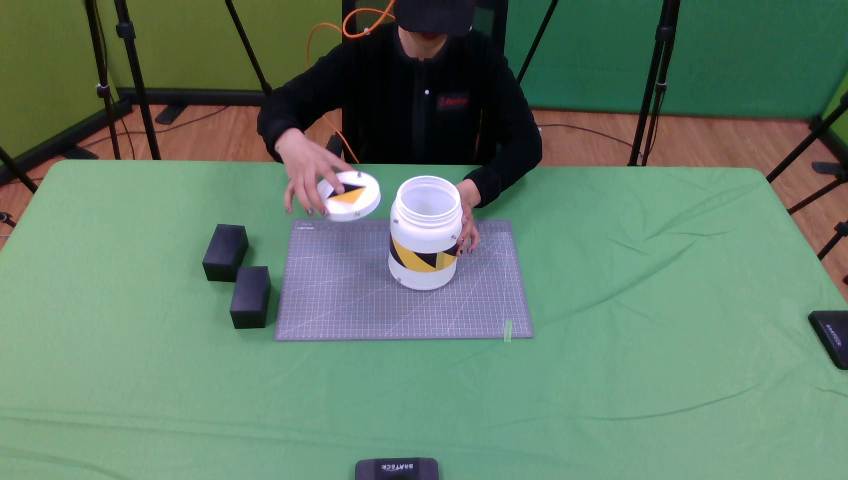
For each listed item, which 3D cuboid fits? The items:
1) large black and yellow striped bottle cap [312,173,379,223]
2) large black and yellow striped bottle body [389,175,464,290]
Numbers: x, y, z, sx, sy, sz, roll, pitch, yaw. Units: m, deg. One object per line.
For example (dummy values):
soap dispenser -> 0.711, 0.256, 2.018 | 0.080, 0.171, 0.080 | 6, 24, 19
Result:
large black and yellow striped bottle cap -> -0.134, -0.074, 1.034 | 0.115, 0.019, 0.114 | -2, 45, 2
large black and yellow striped bottle body -> 0.003, -0.013, 1.092 | 0.131, 0.185, 0.130 | 3, 46, -3
